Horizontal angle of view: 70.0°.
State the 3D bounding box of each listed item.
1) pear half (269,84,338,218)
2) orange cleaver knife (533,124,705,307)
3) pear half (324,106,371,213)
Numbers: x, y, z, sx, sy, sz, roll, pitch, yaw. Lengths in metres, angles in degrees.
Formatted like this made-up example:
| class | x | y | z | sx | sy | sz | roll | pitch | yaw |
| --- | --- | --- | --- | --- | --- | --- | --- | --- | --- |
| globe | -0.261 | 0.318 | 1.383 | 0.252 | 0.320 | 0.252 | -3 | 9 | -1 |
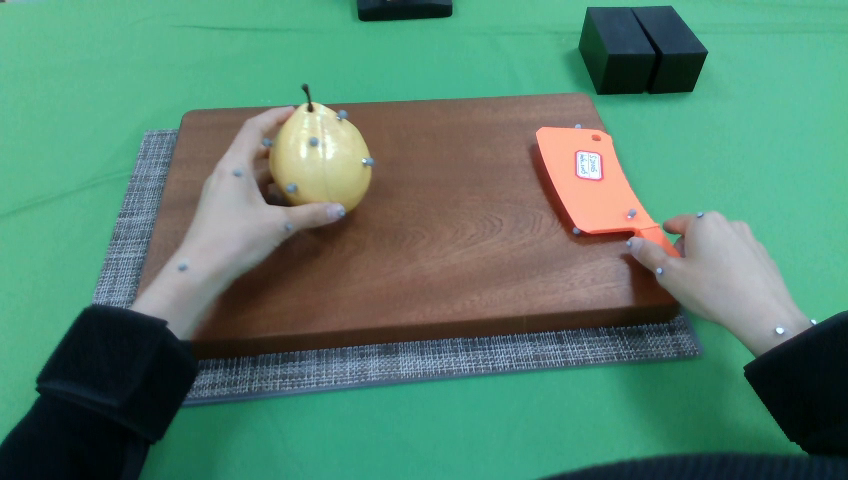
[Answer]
| class | x | y | z | sx | sy | sz | roll | pitch | yaw |
| --- | --- | --- | --- | --- | --- | --- | --- | --- | --- |
| pear half | -0.093 | -0.071 | 0.465 | 0.056 | 0.111 | 0.075 | -2 | 42 | -2 |
| orange cleaver knife | 0.152 | -0.030 | 0.498 | 0.077 | 0.012 | 0.209 | -8 | 51 | -14 |
| pear half | -0.057 | -0.063 | 0.471 | 0.031 | 0.089 | 0.069 | -3 | 42 | -2 |
